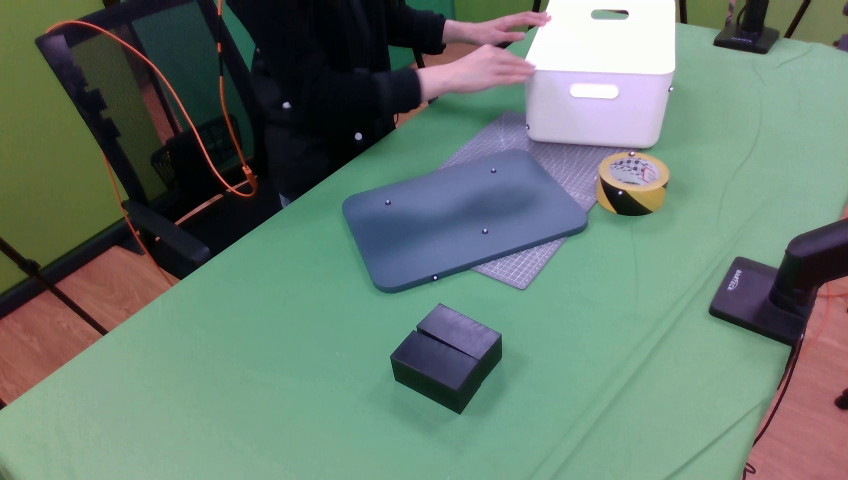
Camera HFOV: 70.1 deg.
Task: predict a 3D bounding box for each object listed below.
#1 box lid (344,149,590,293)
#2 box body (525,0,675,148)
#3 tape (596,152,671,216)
[{"bbox_3d":[0.062,-0.045,1.027,0.373,0.015,0.261,-18,41,-11],"label":"box lid"},{"bbox_3d":[0.356,-0.342,1.212,0.253,0.161,0.363,7,42,17],"label":"box body"},{"bbox_3d":[0.349,-0.095,1.009,0.117,0.053,0.116,-3,42,3],"label":"tape"}]
